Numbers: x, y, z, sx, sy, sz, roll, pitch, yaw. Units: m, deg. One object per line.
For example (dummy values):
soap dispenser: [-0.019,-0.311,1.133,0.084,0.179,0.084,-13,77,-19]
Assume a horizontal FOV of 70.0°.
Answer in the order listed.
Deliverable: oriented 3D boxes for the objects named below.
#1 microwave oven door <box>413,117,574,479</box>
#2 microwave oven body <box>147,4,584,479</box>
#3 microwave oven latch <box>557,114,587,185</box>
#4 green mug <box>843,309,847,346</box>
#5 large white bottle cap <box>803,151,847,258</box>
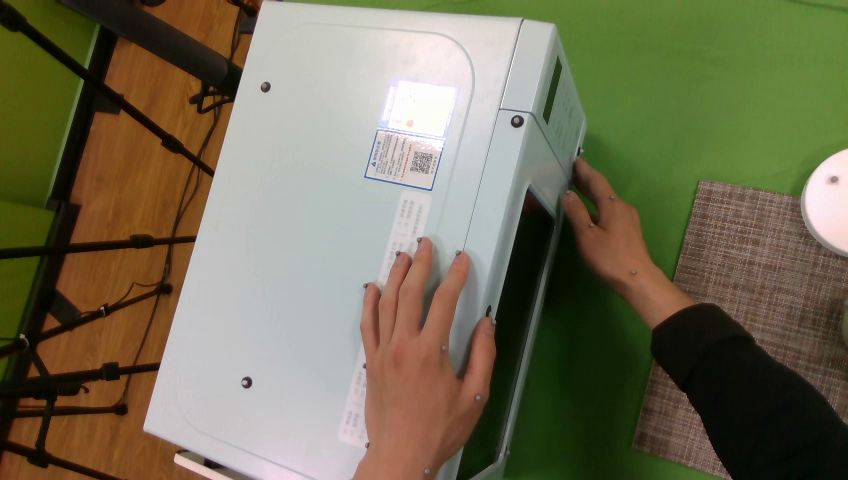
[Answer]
microwave oven door: [0.072,0.089,0.587,0.039,0.245,0.355,12,86,23]
microwave oven body: [-0.047,0.020,0.650,0.324,0.262,0.441,13,86,22]
microwave oven latch: [0.166,-0.105,0.693,0.030,0.030,0.079,13,87,22]
green mug: [0.431,0.096,0.534,0.092,0.105,0.125,13,86,23]
large white bottle cap: [0.442,-0.036,0.599,0.114,0.018,0.114,-4,78,20]
